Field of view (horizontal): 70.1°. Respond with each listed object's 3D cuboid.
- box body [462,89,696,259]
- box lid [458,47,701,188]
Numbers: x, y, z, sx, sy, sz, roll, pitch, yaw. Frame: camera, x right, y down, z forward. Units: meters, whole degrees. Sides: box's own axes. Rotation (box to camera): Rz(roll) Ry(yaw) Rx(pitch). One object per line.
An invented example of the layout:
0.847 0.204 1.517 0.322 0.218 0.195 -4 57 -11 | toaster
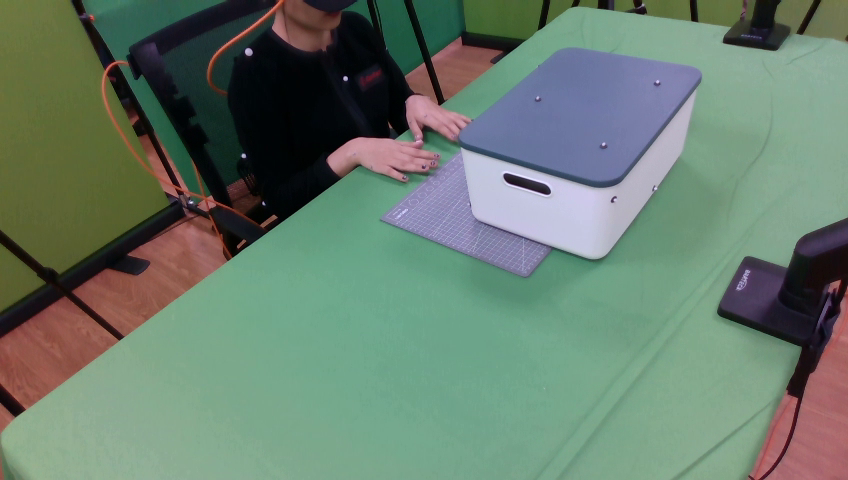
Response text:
0.261 -0.153 1.001 0.252 0.161 0.365 21 48 31 | box body
0.253 -0.211 0.954 0.261 0.015 0.372 22 49 30 | box lid
